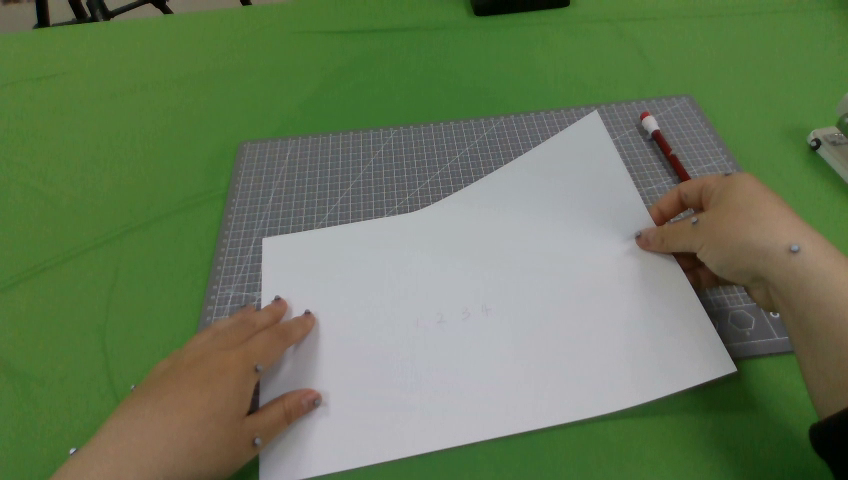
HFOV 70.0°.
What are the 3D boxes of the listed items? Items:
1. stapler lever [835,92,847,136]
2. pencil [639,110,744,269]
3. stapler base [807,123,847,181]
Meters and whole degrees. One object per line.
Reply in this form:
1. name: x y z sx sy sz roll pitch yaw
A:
1. stapler lever: 0.372 -0.077 0.481 0.027 0.040 0.117 -12 49 -2
2. pencil: 0.222 -0.049 0.510 0.012 0.012 0.192 -9 49 -3
3. stapler base: 0.373 -0.061 0.501 0.041 0.025 0.129 -12 49 -2
